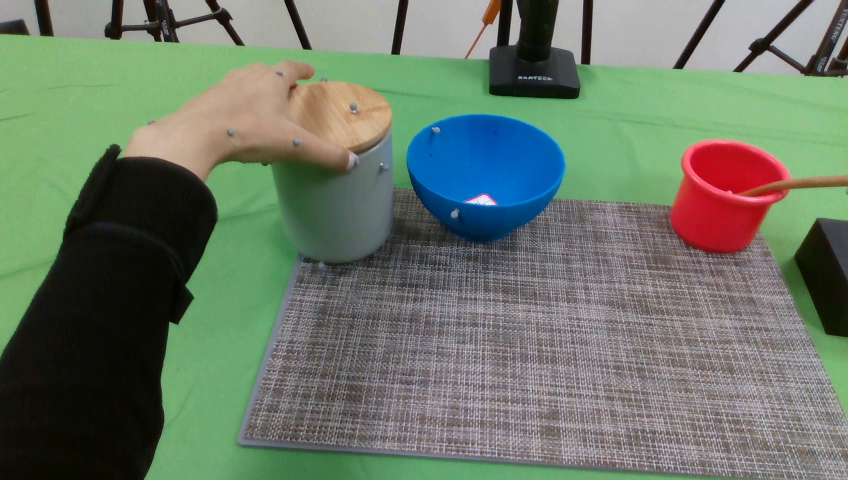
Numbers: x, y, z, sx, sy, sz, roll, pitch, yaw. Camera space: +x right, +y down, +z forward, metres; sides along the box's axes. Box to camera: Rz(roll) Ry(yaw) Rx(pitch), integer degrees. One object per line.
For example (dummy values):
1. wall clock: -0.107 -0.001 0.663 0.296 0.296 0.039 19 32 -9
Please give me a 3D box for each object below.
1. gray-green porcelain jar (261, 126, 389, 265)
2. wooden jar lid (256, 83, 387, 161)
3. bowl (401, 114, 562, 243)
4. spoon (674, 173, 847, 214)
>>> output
1. gray-green porcelain jar: -0.085 -0.049 0.552 0.106 0.127 0.105 1 43 -1
2. wooden jar lid: -0.084 -0.098 0.506 0.108 0.021 0.107 0 41 0
3. bowl: 0.053 -0.050 0.593 0.151 0.077 0.150 1 44 -1
4. spoon: 0.310 -0.044 0.548 0.041 0.193 0.022 -29 97 -25
